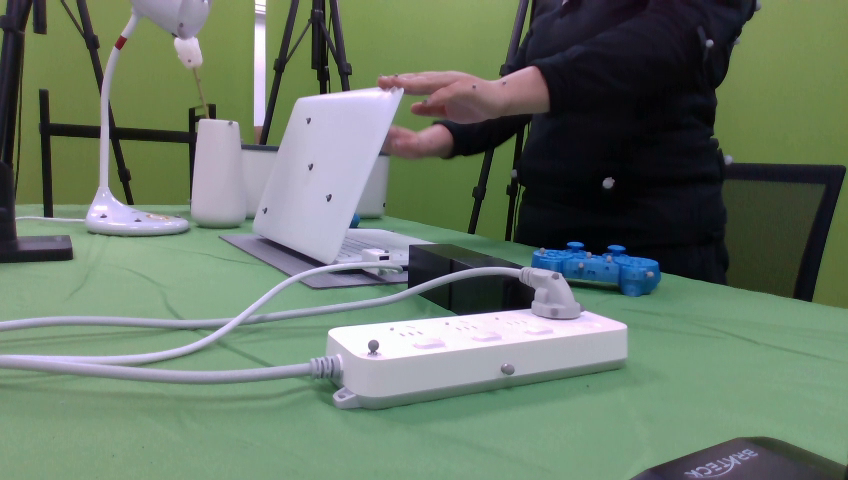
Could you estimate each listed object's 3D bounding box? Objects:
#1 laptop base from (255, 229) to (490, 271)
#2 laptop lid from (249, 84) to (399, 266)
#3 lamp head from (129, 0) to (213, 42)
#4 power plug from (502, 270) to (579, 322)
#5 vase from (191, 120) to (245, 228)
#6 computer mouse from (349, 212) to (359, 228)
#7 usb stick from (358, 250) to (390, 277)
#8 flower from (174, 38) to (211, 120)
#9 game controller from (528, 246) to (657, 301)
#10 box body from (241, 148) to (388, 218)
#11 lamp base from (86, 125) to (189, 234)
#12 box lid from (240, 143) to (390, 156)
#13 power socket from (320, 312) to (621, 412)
[{"bbox_3d":[-0.096,0.012,0.912,0.237,0.023,0.352,2,7,-32],"label":"laptop base"},{"bbox_3d":[-0.159,-0.101,0.855,0.013,0.241,0.355,22,-2,-33],"label":"laptop lid"},{"bbox_3d":[-0.423,-0.394,0.980,0.123,0.112,0.112,20,7,-3],"label":"lamp head"},{"bbox_3d":[0.091,0.051,0.469,0.035,0.052,0.072,0,5,-18],"label":"power plug"},{"bbox_3d":[-0.389,-0.124,1.143,0.098,0.200,0.098,3,9,0],"label":"vase"},{"bbox_3d":[-0.195,-0.046,1.240,0.117,0.041,0.063,-1,9,12],"label":"computer mouse"},{"bbox_3d":[-0.062,0.026,0.708,0.021,0.027,0.059,-3,5,-29],"label":"usb stick"},{"bbox_3d":[-0.401,-0.207,1.141,0.038,0.361,0.044,-14,3,44],"label":"flower"},{"bbox_3d":[0.202,0.037,0.733,0.155,0.051,0.097,5,10,19],"label":"game controller"},{"bbox_3d":[-0.297,-0.143,1.475,0.366,0.160,0.253,-1,9,-30],"label":"box body"},{"bbox_3d":[-0.497,-0.105,1.027,0.179,0.180,0.160,1,7,2],"label":"lamp base"},{"bbox_3d":[-0.295,-0.217,1.464,0.373,0.015,0.262,-1,8,-30],"label":"box lid"},{"bbox_3d":[0.038,0.075,0.409,0.228,0.032,0.072,-2,8,-29],"label":"power socket"}]
